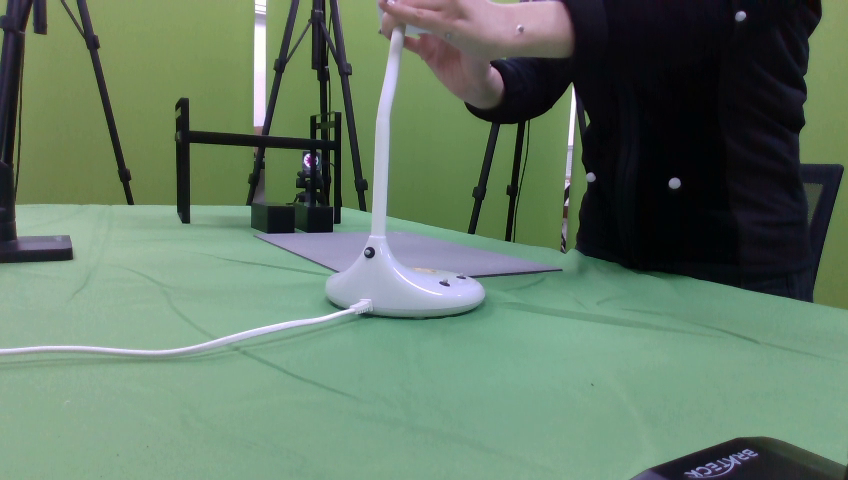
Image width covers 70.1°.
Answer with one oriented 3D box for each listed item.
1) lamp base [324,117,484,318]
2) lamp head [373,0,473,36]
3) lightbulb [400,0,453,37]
[{"bbox_3d":[-0.021,-0.025,0.583,0.160,0.180,0.179,5,10,17],"label":"lamp base"},{"bbox_3d":[-0.009,-0.293,0.643,0.112,0.123,0.112,-7,46,7],"label":"lamp head"},{"bbox_3d":[-0.006,-0.277,0.664,0.059,0.108,0.059,-19,31,12],"label":"lightbulb"}]
